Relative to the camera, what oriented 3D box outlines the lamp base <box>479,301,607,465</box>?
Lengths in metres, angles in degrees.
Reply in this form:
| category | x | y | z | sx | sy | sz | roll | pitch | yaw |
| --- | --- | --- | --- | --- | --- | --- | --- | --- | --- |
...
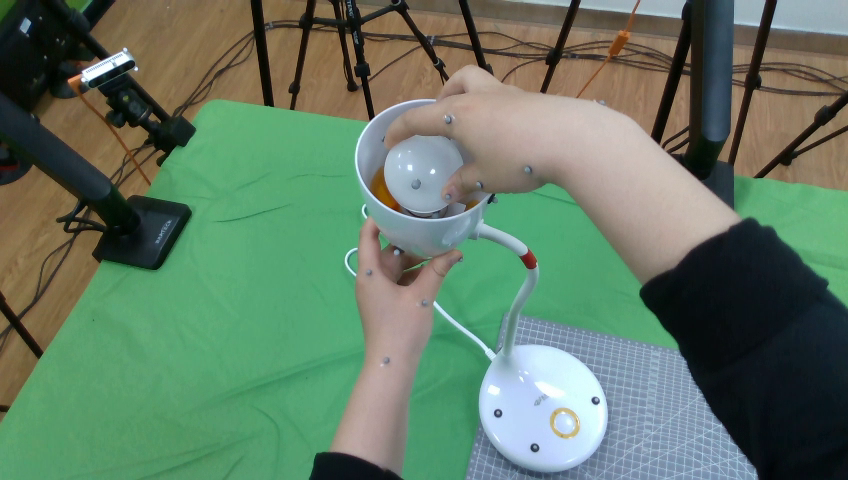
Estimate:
| category | x | y | z | sx | sy | sz | roll | pitch | yaw |
| --- | --- | --- | --- | --- | --- | --- | --- | --- | --- |
| lamp base | 0.133 | 0.153 | 0.707 | 0.177 | 0.182 | 0.160 | 35 | 65 | 27 |

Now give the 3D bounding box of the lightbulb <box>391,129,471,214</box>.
| category | x | y | z | sx | sy | sz | roll | pitch | yaw |
| --- | --- | --- | --- | --- | --- | --- | --- | --- | --- |
| lightbulb | 0.007 | -0.044 | 0.473 | 0.059 | 0.108 | 0.059 | -2 | 69 | 4 |

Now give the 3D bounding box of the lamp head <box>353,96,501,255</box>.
| category | x | y | z | sx | sy | sz | roll | pitch | yaw |
| --- | --- | --- | --- | --- | --- | --- | --- | --- | --- |
| lamp head | 0.005 | -0.038 | 0.499 | 0.112 | 0.124 | 0.111 | -2 | 61 | 3 |
